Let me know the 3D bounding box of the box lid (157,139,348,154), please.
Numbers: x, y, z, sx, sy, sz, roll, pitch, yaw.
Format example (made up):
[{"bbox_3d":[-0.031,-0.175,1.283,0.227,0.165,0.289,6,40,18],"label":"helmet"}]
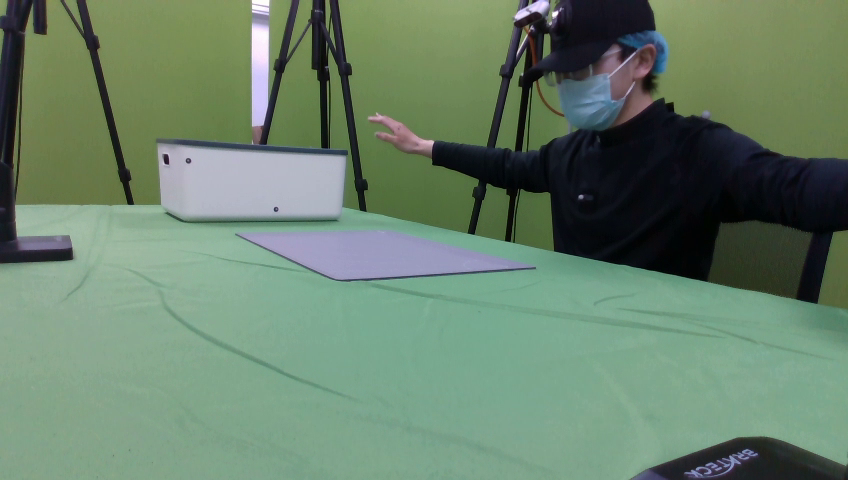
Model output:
[{"bbox_3d":[-0.379,-0.206,1.350,0.373,0.015,0.262,-2,9,-33],"label":"box lid"}]

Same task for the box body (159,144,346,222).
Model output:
[{"bbox_3d":[-0.385,-0.133,1.359,0.366,0.160,0.253,-2,9,-33],"label":"box body"}]
